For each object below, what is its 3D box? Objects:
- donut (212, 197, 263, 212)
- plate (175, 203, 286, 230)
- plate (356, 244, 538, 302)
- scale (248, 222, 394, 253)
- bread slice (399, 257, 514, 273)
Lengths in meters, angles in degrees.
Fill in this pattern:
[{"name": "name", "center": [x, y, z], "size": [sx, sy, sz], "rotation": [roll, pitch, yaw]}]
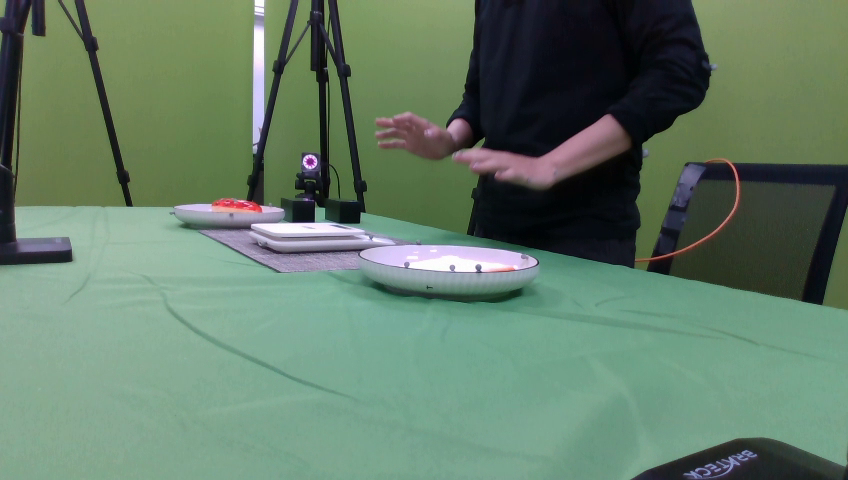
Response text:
[{"name": "donut", "center": [-0.376, -0.061, 1.220], "size": [0.099, 0.048, 0.099], "rotation": [5, 4, 0]}, {"name": "plate", "center": [-0.380, -0.047, 1.199], "size": [0.208, 0.039, 0.207], "rotation": [3, 7, 0]}, {"name": "plate", "center": [0.025, 0.036, 0.693], "size": [0.209, 0.038, 0.209], "rotation": [3, 7, 0]}, {"name": "scale", "center": [-0.162, -0.006, 0.954], "size": [0.202, 0.031, 0.148], "rotation": [-1, 9, -32]}, {"name": "bread slice", "center": [0.029, 0.038, 0.689], "size": [0.104, 0.019, 0.132], "rotation": [8, 10, 37]}]
